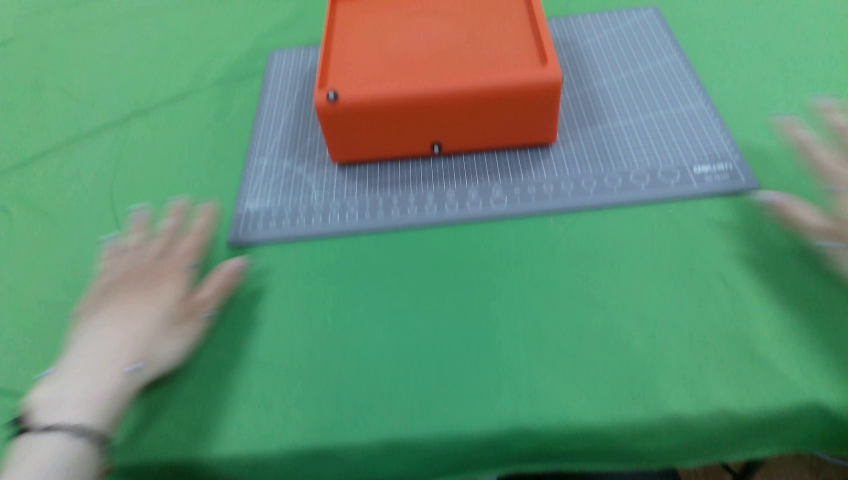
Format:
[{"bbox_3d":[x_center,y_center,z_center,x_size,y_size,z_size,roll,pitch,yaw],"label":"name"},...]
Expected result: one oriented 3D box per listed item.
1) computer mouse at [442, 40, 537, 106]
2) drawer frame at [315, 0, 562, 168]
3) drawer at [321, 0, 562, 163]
[{"bbox_3d":[0.064,-0.169,0.591,0.062,0.041,0.117,2,34,31],"label":"computer mouse"},{"bbox_3d":[0.014,-0.170,0.594,0.213,0.083,0.199,-6,49,3],"label":"drawer frame"},{"bbox_3d":[0.016,-0.170,0.595,0.212,0.074,0.192,-5,49,4],"label":"drawer"}]
